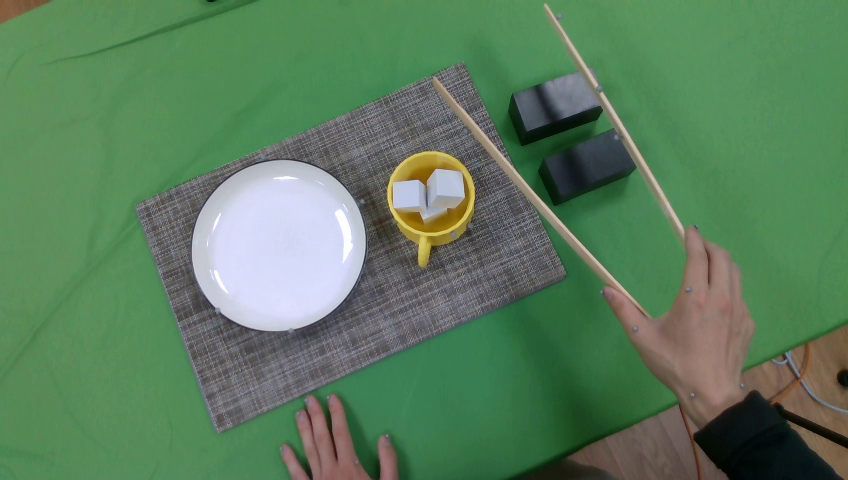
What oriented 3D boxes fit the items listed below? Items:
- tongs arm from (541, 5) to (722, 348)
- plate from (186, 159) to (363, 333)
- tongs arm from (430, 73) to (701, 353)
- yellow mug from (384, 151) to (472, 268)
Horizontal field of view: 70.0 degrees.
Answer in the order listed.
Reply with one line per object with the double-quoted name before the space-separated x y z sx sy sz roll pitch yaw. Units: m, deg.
"tongs arm" 0.192 -0.075 0.608 0.051 0.027 0.382 -27 75 1
"plate" -0.174 0.008 0.723 0.207 0.039 0.207 0 81 2
"tongs arm" 0.127 -0.035 0.610 0.028 0.028 0.385 -37 74 -6
"yellow mug" 0.003 -0.031 0.707 0.100 0.064 0.130 7 81 3
